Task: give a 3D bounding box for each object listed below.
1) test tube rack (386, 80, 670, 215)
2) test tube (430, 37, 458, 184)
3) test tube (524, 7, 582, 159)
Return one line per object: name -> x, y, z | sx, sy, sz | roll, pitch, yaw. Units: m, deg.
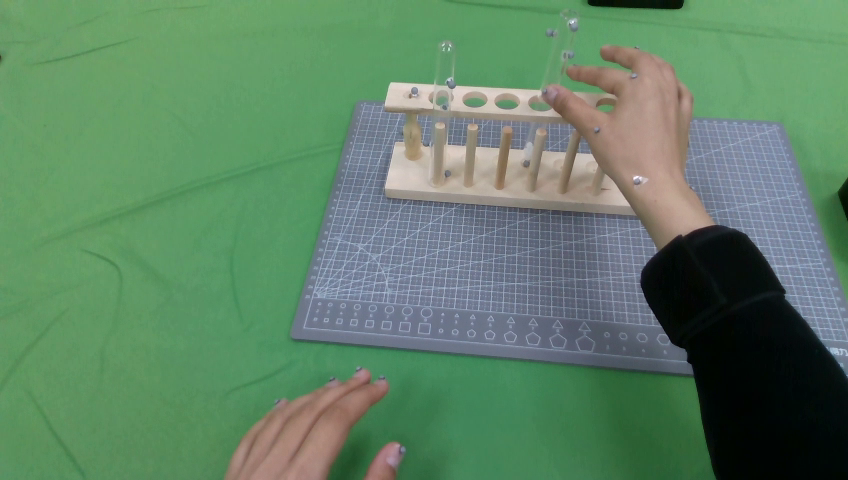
test tube rack -> 0.088, -0.084, 0.551 | 0.242, 0.086, 0.066 | 5, 52, 5
test tube -> 0.016, -0.103, 0.511 | 0.017, 0.152, 0.017 | 1, 52, -1
test tube -> 0.108, -0.127, 0.521 | 0.017, 0.151, 0.017 | 3, 50, -3
